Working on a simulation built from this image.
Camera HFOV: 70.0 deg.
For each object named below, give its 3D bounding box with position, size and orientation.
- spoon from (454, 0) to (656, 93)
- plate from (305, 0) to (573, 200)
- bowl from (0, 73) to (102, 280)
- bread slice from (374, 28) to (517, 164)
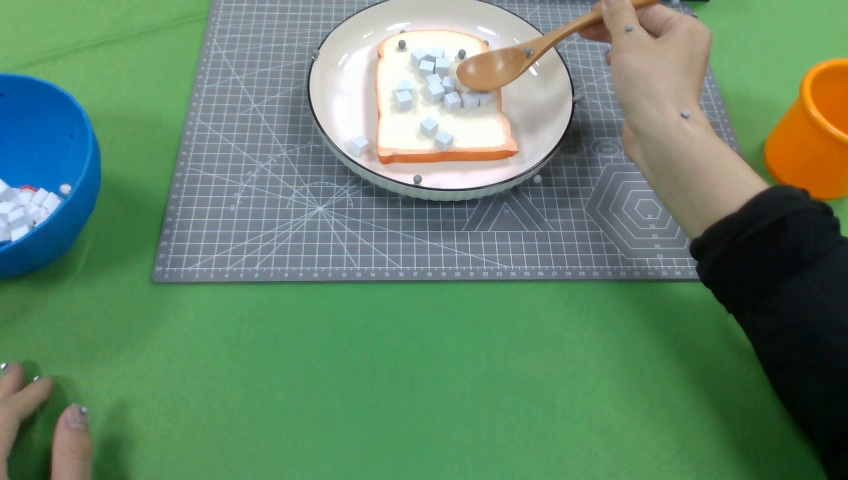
[{"bbox_3d":[0.114,-0.155,0.447,0.193,0.022,0.041,-23,52,14],"label":"spoon"},{"bbox_3d":[0.011,-0.115,0.486,0.209,0.038,0.207,1,60,-2],"label":"plate"},{"bbox_3d":[-0.281,-0.028,0.399,0.151,0.077,0.150,2,60,-2],"label":"bowl"},{"bbox_3d":[0.008,-0.119,0.491,0.107,0.018,0.133,-7,63,-6],"label":"bread slice"}]
